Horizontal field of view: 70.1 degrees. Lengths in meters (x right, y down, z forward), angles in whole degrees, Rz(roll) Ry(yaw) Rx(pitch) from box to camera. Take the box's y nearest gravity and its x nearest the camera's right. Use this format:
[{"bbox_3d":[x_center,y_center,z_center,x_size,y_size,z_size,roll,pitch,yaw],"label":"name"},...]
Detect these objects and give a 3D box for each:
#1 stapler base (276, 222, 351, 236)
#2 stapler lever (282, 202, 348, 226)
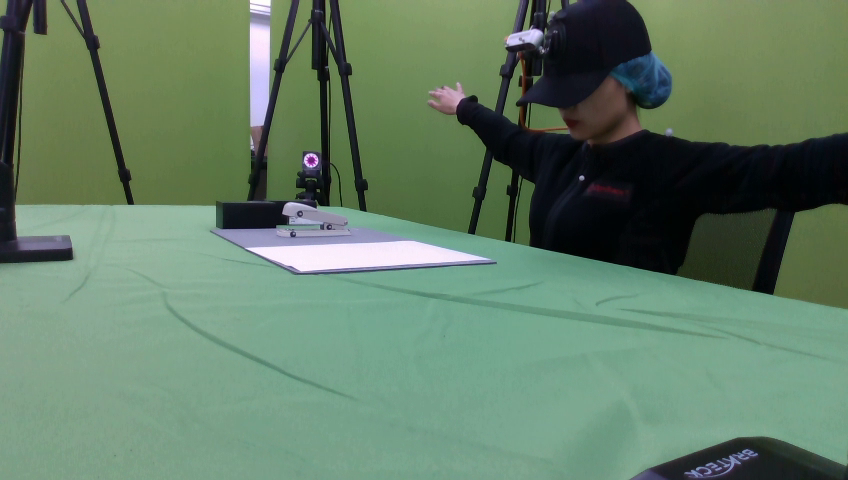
[{"bbox_3d":[-0.196,-0.021,1.075,0.131,0.024,0.041,0,10,-33],"label":"stapler base"},{"bbox_3d":[-0.193,-0.045,1.073,0.119,0.040,0.026,0,10,-33],"label":"stapler lever"}]
